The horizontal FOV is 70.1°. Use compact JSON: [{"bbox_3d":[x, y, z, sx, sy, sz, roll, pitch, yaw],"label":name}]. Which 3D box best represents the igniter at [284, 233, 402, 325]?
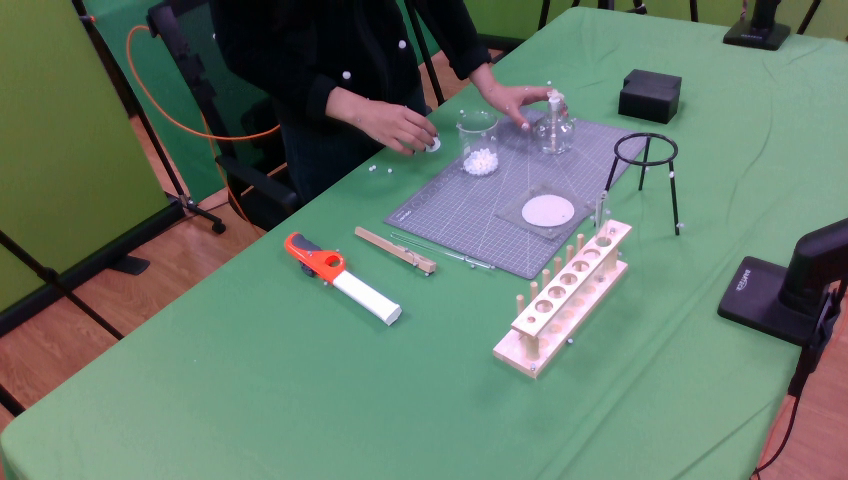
[{"bbox_3d":[-0.136,0.054,0.942,0.274,0.025,0.057,30,63,37],"label":"igniter"}]

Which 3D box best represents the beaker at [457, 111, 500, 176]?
[{"bbox_3d":[0.104,-0.176,1.108,0.073,0.101,0.084,16,46,27],"label":"beaker"}]

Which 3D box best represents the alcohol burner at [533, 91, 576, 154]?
[{"bbox_3d":[0.243,-0.222,1.124,0.078,0.119,0.077,-4,39,4],"label":"alcohol burner"}]

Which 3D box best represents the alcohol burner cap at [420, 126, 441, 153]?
[{"bbox_3d":[0.009,-0.189,1.119,0.034,0.048,0.033,-11,53,15],"label":"alcohol burner cap"}]

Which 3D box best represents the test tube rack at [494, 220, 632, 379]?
[{"bbox_3d":[0.191,0.068,0.818,0.066,0.085,0.243,25,51,35],"label":"test tube rack"}]

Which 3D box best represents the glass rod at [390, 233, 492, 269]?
[{"bbox_3d":[0.023,0.017,0.970,0.198,0.008,0.008,18,48,32],"label":"glass rod"}]

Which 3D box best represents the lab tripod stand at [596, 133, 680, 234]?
[{"bbox_3d":[0.338,-0.091,0.940,0.148,0.132,0.147,-7,39,6],"label":"lab tripod stand"}]

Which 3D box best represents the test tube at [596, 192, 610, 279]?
[{"bbox_3d":[0.240,-0.002,0.814,0.017,0.151,0.017,-7,42,7],"label":"test tube"}]

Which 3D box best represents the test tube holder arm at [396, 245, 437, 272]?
[{"bbox_3d":[-0.016,0.029,0.957,0.087,0.015,0.010,25,16,34],"label":"test tube holder arm"}]

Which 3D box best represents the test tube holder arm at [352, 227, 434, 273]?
[{"bbox_3d":[-0.053,0.014,0.978,0.177,0.015,0.013,25,16,34],"label":"test tube holder arm"}]

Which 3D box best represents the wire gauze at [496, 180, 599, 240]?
[{"bbox_3d":[0.206,-0.050,1.012,0.125,0.011,0.120,-34,45,-26],"label":"wire gauze"}]
